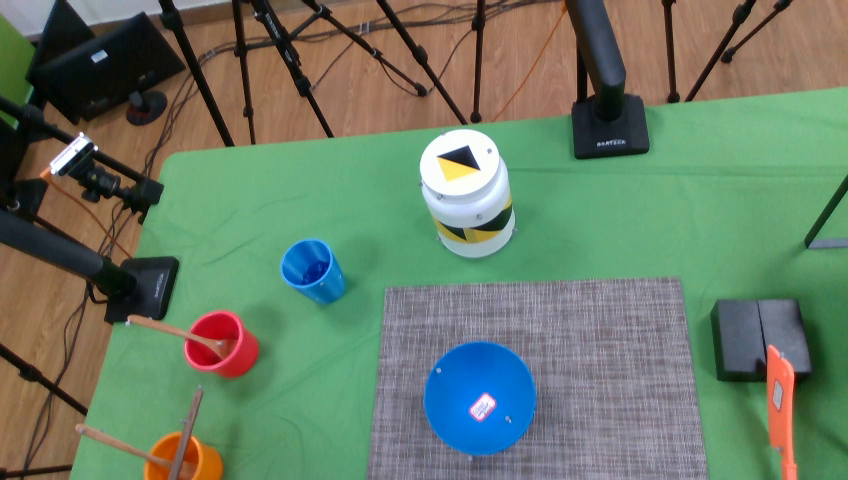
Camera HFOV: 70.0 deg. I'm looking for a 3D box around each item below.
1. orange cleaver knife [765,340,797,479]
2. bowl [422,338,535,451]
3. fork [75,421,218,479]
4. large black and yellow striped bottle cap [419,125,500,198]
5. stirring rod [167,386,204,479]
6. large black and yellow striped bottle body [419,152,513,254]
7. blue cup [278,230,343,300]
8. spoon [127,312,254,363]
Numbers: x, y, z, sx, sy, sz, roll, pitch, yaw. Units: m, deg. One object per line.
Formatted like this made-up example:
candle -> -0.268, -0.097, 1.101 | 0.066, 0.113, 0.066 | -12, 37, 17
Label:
orange cleaver knife -> 0.435, 0.230, 0.739 | 0.012, 0.077, 0.211 | -4, 92, 7
bowl -> 0.079, 0.217, 0.830 | 0.151, 0.077, 0.150 | -6, 62, 11
fork -> -0.392, 0.302, 0.860 | 0.209, 0.018, 0.028 | 32, 77, -20
large black and yellow striped bottle cap -> 0.049, -0.113, 0.856 | 0.115, 0.019, 0.114 | -6, 62, 12
stirring rod -> -0.341, 0.292, 0.852 | 0.014, 0.006, 0.175 | 3, 64, 12
large black and yellow striped bottle body -> 0.066, -0.074, 0.929 | 0.130, 0.186, 0.129 | -6, 61, 11
blue cup -> -0.173, 0.051, 0.968 | 0.092, 0.101, 0.092 | -4, 64, 10
spoon -> -0.359, 0.146, 0.940 | 0.195, 0.021, 0.041 | 26, 62, -23
